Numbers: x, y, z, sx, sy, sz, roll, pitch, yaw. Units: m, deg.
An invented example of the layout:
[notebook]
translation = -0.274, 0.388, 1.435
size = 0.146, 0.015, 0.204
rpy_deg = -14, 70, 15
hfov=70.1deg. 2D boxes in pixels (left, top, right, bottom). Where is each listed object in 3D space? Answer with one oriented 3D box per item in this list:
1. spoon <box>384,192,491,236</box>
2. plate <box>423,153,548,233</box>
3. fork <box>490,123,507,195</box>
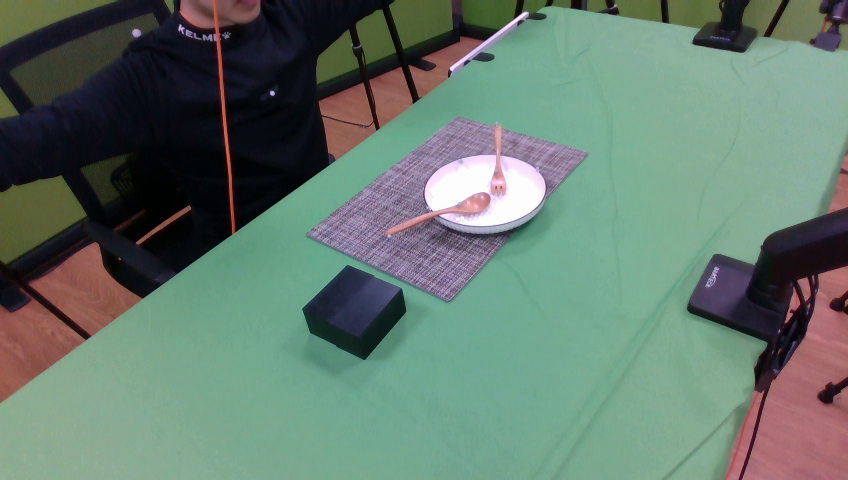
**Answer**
[spoon]
translation = 0.023, -0.042, 0.970
size = 0.195, 0.022, 0.041
rpy_deg = -17, 45, -23
[plate]
translation = 0.104, -0.076, 1.024
size = 0.209, 0.038, 0.208
rpy_deg = -4, 40, 4
[fork]
translation = 0.133, -0.149, 1.082
size = 0.028, 0.019, 0.206
rpy_deg = -2, 49, 8
